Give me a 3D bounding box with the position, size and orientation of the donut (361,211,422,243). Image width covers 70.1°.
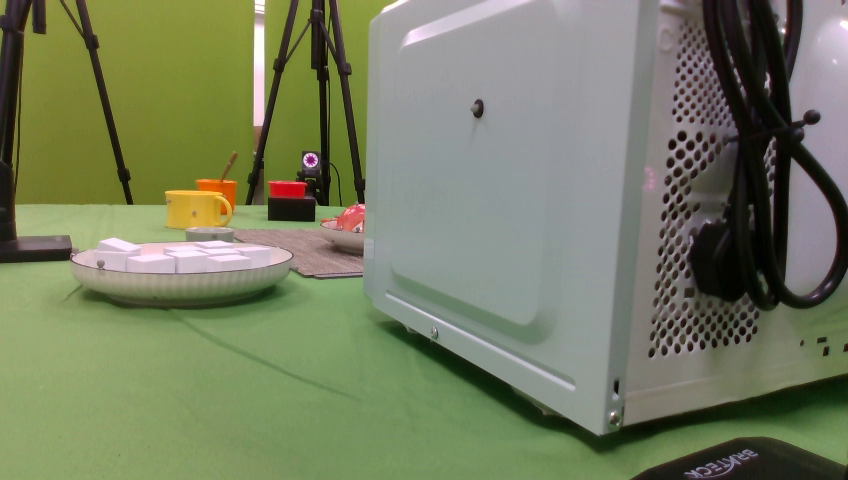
[{"bbox_3d":[-0.051,-0.020,0.958,0.099,0.048,0.099,4,7,0],"label":"donut"}]

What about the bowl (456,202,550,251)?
[{"bbox_3d":[0.127,-0.023,0.980,0.151,0.077,0.151,-1,3,0],"label":"bowl"}]

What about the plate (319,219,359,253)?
[{"bbox_3d":[-0.059,-0.007,0.939,0.209,0.038,0.209,3,8,0],"label":"plate"}]

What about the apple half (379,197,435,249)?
[{"bbox_3d":[-0.020,-0.030,0.891,0.081,0.053,0.074,-2,50,-26],"label":"apple half"}]

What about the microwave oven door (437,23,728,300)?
[{"bbox_3d":[0.181,-0.072,0.621,0.358,0.243,0.039,-2,9,-29],"label":"microwave oven door"}]

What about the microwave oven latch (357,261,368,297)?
[{"bbox_3d":[-0.019,0.033,0.531,0.079,0.029,0.030,-1,7,-27],"label":"microwave oven latch"}]

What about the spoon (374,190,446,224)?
[{"bbox_3d":[-0.031,-0.068,1.167,0.042,0.021,0.193,-34,45,-30],"label":"spoon"}]

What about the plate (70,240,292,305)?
[{"bbox_3d":[-0.241,0.031,0.618,0.208,0.039,0.207,2,8,0],"label":"plate"}]

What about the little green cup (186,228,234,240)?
[{"bbox_3d":[-0.284,0.005,0.805,0.061,0.038,0.061,2,8,0],"label":"little green cup"}]

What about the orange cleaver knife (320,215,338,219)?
[{"bbox_3d":[-0.142,-0.057,1.395,0.077,0.012,0.212,3,7,44],"label":"orange cleaver knife"}]

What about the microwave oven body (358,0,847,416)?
[{"bbox_3d":[0.211,-0.047,0.474,0.444,0.260,0.324,-1,7,-28],"label":"microwave oven body"}]

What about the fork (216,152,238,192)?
[{"bbox_3d":[-0.455,-0.132,1.367,0.028,0.018,0.207,-2,-35,-37],"label":"fork"}]

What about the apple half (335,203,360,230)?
[{"bbox_3d":[-0.116,-0.038,0.959,0.081,0.033,0.081,-38,8,7],"label":"apple half"}]

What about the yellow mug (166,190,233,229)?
[{"bbox_3d":[-0.415,-0.057,1.132,0.130,0.064,0.100,6,8,16],"label":"yellow mug"}]
